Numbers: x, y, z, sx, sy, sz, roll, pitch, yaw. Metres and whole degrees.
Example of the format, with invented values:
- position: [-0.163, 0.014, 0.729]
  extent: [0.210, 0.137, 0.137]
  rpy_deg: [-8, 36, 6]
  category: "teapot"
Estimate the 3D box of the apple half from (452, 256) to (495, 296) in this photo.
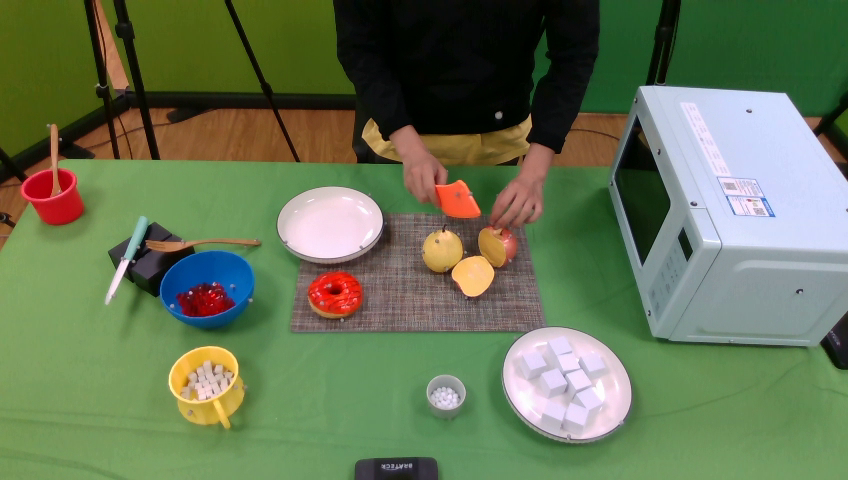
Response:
- position: [0.096, 0.069, 1.120]
  extent: [0.081, 0.033, 0.081]
  rpy_deg: [-7, 62, 13]
  category: "apple half"

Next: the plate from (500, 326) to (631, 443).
- position: [0.224, 0.234, 0.978]
  extent: [0.208, 0.039, 0.206]
  rpy_deg: [2, 46, -2]
  category: "plate"

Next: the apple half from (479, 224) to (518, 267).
- position: [0.149, 0.007, 1.160]
  extent: [0.053, 0.075, 0.080]
  rpy_deg: [-23, 48, -31]
  category: "apple half"

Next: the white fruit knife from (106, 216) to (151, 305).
- position: [-0.519, 0.032, 1.066]
  extent: [0.027, 0.016, 0.206]
  rpy_deg: [-18, 45, 19]
  category: "white fruit knife"

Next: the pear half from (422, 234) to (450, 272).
- position: [0.017, 0.026, 1.122]
  extent: [0.031, 0.088, 0.070]
  rpy_deg: [-33, 61, -30]
  category: "pear half"

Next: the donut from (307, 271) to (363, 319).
- position: [-0.157, 0.097, 1.073]
  extent: [0.099, 0.048, 0.098]
  rpy_deg: [4, 45, -4]
  category: "donut"

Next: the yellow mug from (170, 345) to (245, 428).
- position: [-0.322, 0.230, 0.922]
  extent: [0.100, 0.064, 0.130]
  rpy_deg: [-24, 53, -25]
  category: "yellow mug"

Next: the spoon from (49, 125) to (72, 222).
- position: [-0.717, -0.131, 1.189]
  extent: [0.042, 0.021, 0.193]
  rpy_deg: [-3, 90, -7]
  category: "spoon"

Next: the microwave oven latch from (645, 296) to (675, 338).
- position: [0.412, 0.134, 1.061]
  extent: [0.030, 0.029, 0.078]
  rpy_deg: [3, 45, 0]
  category: "microwave oven latch"

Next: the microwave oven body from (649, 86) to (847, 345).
- position: [0.567, -0.053, 1.118]
  extent: [0.326, 0.261, 0.439]
  rpy_deg: [2, 45, -1]
  category: "microwave oven body"

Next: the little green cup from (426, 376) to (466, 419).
- position: [0.033, 0.248, 0.950]
  extent: [0.061, 0.039, 0.061]
  rpy_deg: [2, 46, -2]
  category: "little green cup"

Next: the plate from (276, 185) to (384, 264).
- position: [-0.184, -0.027, 1.195]
  extent: [0.209, 0.038, 0.208]
  rpy_deg: [2, 46, -2]
  category: "plate"

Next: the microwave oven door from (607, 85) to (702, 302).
- position: [0.423, -0.094, 1.140]
  extent: [0.039, 0.245, 0.353]
  rpy_deg: [2, 46, -1]
  category: "microwave oven door"

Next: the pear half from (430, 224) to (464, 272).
- position: [0.045, 0.004, 1.131]
  extent: [0.056, 0.110, 0.076]
  rpy_deg: [-33, 60, -30]
  category: "pear half"

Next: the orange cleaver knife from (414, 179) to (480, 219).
- position: [0.038, -0.075, 1.087]
  extent: [0.012, 0.077, 0.210]
  rpy_deg: [-27, 18, -21]
  category: "orange cleaver knife"

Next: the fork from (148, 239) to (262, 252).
- position: [-0.399, 0.007, 1.118]
  extent: [0.208, 0.019, 0.028]
  rpy_deg: [-4, 34, -37]
  category: "fork"

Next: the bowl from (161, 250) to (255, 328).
- position: [-0.362, 0.097, 1.040]
  extent: [0.151, 0.077, 0.150]
  rpy_deg: [2, 45, -2]
  category: "bowl"
